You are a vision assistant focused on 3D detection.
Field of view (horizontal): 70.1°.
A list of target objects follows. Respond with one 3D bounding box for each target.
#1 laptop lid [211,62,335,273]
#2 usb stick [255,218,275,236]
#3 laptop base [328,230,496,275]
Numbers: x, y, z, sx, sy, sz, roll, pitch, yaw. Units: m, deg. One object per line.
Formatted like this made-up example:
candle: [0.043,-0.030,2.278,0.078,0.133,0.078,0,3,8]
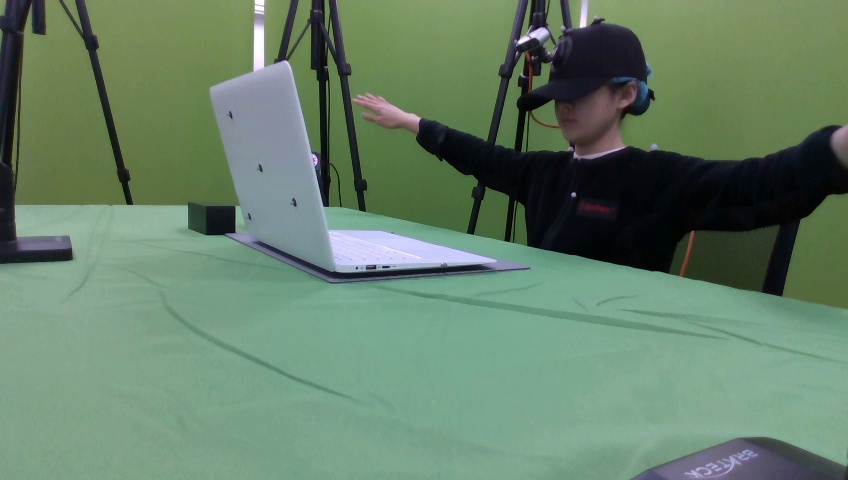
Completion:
laptop lid: [-0.211,-0.095,0.791,0.013,0.241,0.355,-18,18,-29]
usb stick: [-0.262,-0.021,1.003,0.021,0.027,0.059,-1,11,-33]
laptop base: [-0.091,0.016,0.884,0.237,0.023,0.352,3,6,-32]
